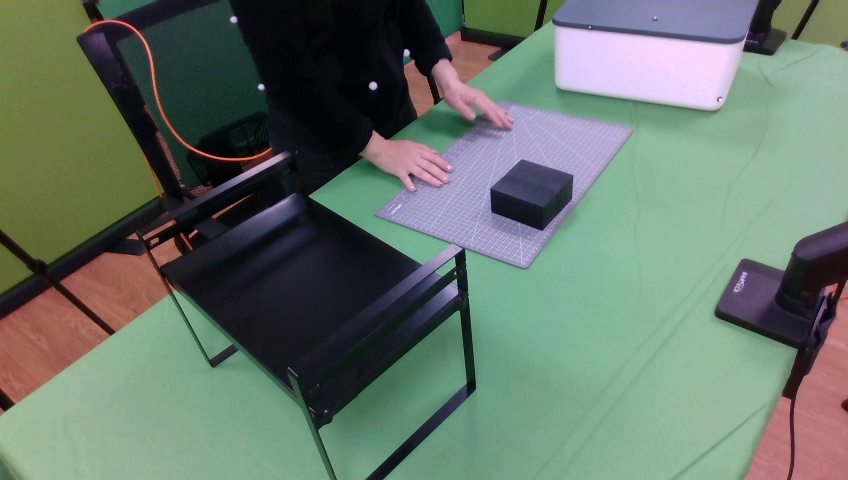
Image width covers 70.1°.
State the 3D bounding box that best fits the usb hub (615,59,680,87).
[{"bbox_3d":[0.484,-0.363,1.311,0.124,0.025,0.049,21,46,27],"label":"usb hub"}]

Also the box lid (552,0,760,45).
[{"bbox_3d":[0.471,-0.473,1.235,0.369,0.015,0.263,16,46,25],"label":"box lid"}]

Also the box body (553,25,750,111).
[{"bbox_3d":[0.480,-0.417,1.282,0.362,0.161,0.254,16,46,25],"label":"box body"}]
